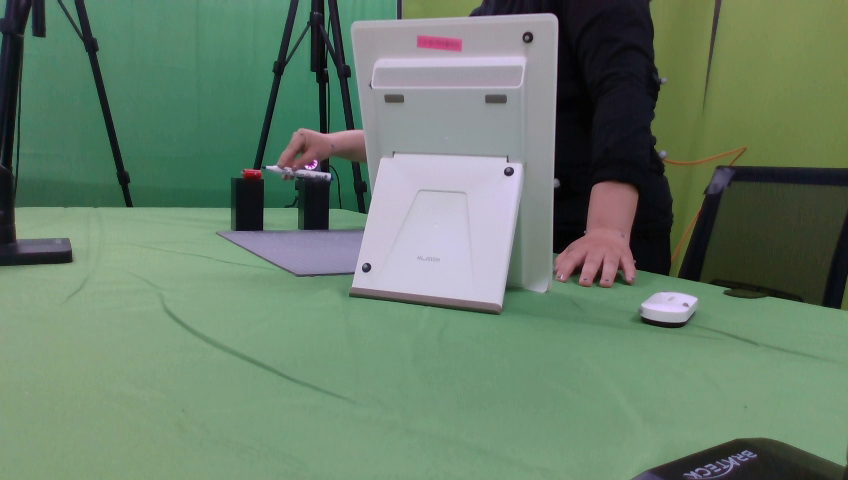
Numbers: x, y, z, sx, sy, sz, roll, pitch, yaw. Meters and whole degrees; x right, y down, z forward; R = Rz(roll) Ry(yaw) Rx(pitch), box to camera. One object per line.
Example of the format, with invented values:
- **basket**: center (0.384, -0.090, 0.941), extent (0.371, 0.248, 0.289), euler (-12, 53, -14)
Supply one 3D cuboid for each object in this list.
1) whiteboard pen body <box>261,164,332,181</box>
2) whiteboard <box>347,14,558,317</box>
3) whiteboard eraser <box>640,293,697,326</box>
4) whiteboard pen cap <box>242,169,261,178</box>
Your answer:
- **whiteboard pen body**: center (-0.248, -0.133, 1.185), extent (0.141, 0.017, 0.017), euler (8, 4, -27)
- **whiteboard**: center (0.012, -0.056, 0.609), extent (0.216, 0.305, 0.144), euler (5, 27, 20)
- **whiteboard eraser**: center (0.240, 0.066, 0.590), extent (0.041, 0.019, 0.102), euler (6, 7, 31)
- **whiteboard pen cap**: center (-0.326, -0.126, 1.144), extent (0.032, 0.017, 0.017), euler (0, 8, -36)
